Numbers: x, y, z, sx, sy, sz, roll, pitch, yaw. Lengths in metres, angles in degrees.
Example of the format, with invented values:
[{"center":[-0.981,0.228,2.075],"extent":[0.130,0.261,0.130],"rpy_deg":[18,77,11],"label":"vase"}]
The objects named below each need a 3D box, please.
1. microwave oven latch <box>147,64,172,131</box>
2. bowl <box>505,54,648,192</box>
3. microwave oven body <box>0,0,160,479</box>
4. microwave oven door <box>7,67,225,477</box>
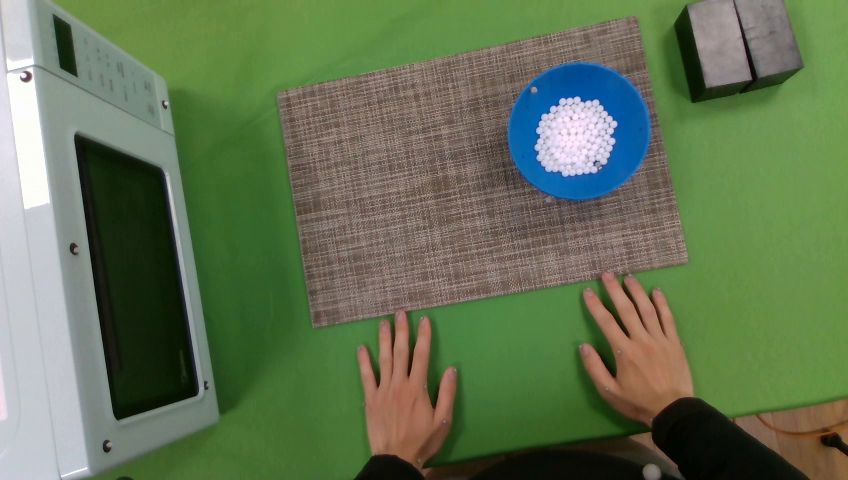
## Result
[{"center":[-0.335,-0.173,0.747],"extent":[0.030,0.029,0.079],"rpy_deg":[-13,85,5],"label":"microwave oven latch"},{"center":[0.166,-0.122,0.683],"extent":[0.151,0.077,0.151],"rpy_deg":[0,86,6],"label":"bowl"},{"center":[-0.454,0.023,0.649],"extent":[0.326,0.261,0.440],"rpy_deg":[-13,85,5],"label":"microwave oven body"},{"center":[-0.304,0.032,0.627],"extent":[0.039,0.244,0.355],"rpy_deg":[-13,84,6],"label":"microwave oven door"}]
